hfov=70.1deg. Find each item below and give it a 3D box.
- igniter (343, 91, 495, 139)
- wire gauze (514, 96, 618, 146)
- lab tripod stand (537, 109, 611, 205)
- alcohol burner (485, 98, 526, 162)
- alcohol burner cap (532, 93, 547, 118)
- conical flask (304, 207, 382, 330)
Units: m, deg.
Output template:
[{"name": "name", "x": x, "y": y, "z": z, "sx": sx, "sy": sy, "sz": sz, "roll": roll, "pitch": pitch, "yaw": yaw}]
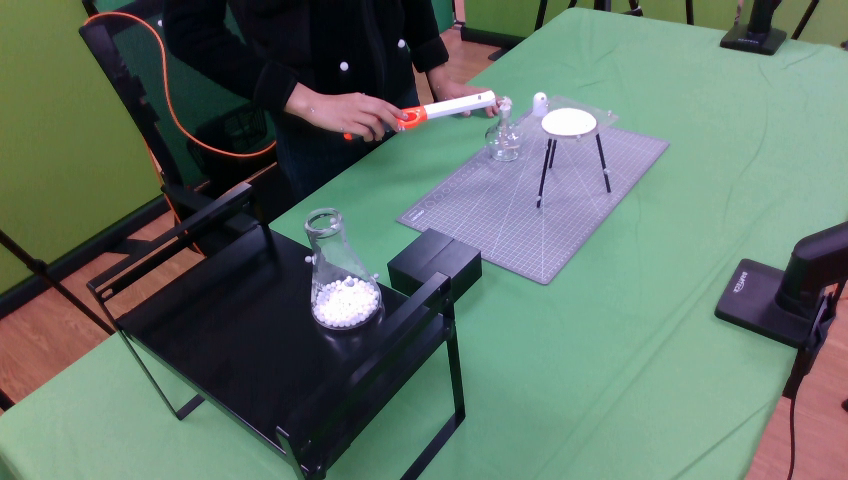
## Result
[{"name": "igniter", "x": -0.009, "y": -0.220, "z": 1.062, "sx": 0.277, "sy": 0.025, "sz": 0.057, "roll": -14, "pitch": 43, "yaw": -9}, {"name": "wire gauze", "x": 0.229, "y": -0.190, "z": 0.969, "sx": 0.120, "sy": 0.011, "sz": 0.125, "roll": 26, "pitch": 50, "yaw": 33}, {"name": "lab tripod stand", "x": 0.244, "y": -0.141, "z": 1.014, "sx": 0.148, "sy": 0.132, "sz": 0.147, "roll": -3, "pitch": 39, "yaw": 3}, {"name": "alcohol burner", "x": 0.151, "y": -0.208, "z": 1.123, "sx": 0.078, "sy": 0.119, "sz": 0.077, "roll": -5, "pitch": 39, "yaw": 4}, {"name": "alcohol burner cap", "x": 0.240, "y": -0.281, "z": 1.251, "sx": 0.034, "sy": 0.048, "sz": 0.033, "roll": -3, "pitch": 42, "yaw": 4}, {"name": "conical flask", "x": -0.088, "y": 0.025, "z": 0.601, "sx": 0.075, "sy": 0.122, "sz": 0.075, "roll": -5, "pitch": 40, "yaw": 5}]
